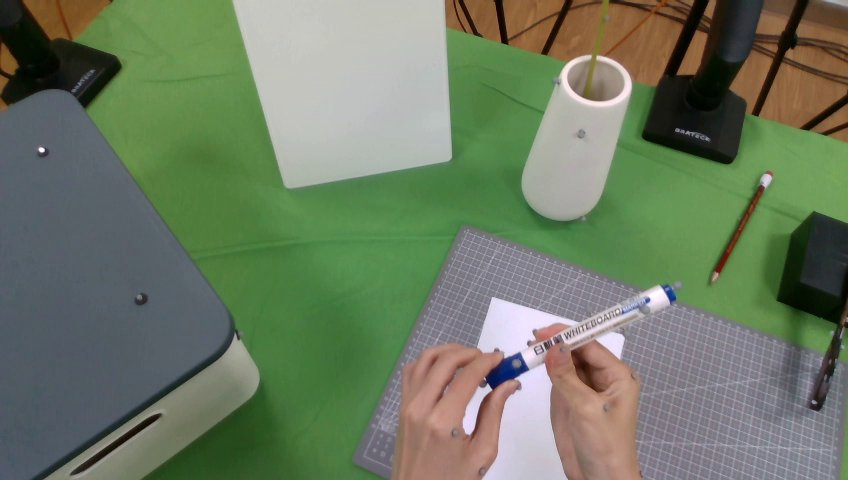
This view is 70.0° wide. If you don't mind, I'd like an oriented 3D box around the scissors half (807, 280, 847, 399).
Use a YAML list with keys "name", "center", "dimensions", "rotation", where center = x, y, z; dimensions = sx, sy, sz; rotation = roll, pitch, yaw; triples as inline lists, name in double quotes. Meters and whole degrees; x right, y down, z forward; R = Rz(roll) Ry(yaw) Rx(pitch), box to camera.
- name: "scissors half"
  center: [0.421, 0.082, 0.617]
  dimensions: [0.012, 0.040, 0.174]
  rotation: [19, 63, 31]

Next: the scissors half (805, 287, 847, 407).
- name: "scissors half"
  center: [0.430, 0.091, 0.633]
  dimensions: [0.012, 0.040, 0.175]
  rotation: [18, 80, 36]

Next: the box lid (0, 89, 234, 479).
- name: "box lid"
  center: [-0.365, 0.027, 0.527]
  dimensions: [0.263, 0.015, 0.368]
  rotation: [-36, 67, -19]

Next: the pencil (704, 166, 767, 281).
- name: "pencil"
  center: [0.379, -0.023, 0.736]
  dimensions: [0.012, 0.012, 0.193]
  rotation: [32, 66, 17]

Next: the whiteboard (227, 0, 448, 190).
- name: "whiteboard"
  center: [-0.098, -0.241, 0.719]
  dimensions: [0.217, 0.308, 0.142]
  rotation: [-11, 42, -6]

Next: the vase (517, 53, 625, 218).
- name: "vase"
  center: [0.161, -0.110, 0.674]
  dimensions: [0.098, 0.201, 0.097]
  rotation: [0, 59, 1]

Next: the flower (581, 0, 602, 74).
- name: "flower"
  center: [0.160, -0.164, 0.609]
  dimensions: [0.044, 0.365, 0.038]
  rotation: [14, 44, 11]

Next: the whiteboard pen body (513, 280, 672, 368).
- name: "whiteboard pen body"
  center: [0.109, 0.065, 0.432]
  dimensions: [0.141, 0.017, 0.017]
  rotation: [-28, 62, 9]

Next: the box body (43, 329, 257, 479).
- name: "box body"
  center: [-0.364, 0.066, 0.591]
  dimensions: [0.254, 0.161, 0.361]
  rotation: [-36, 67, -19]

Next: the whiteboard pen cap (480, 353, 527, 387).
- name: "whiteboard pen cap"
  center: [0.059, 0.094, 0.441]
  dimensions: [0.033, 0.018, 0.018]
  rotation: [-25, 61, 9]
